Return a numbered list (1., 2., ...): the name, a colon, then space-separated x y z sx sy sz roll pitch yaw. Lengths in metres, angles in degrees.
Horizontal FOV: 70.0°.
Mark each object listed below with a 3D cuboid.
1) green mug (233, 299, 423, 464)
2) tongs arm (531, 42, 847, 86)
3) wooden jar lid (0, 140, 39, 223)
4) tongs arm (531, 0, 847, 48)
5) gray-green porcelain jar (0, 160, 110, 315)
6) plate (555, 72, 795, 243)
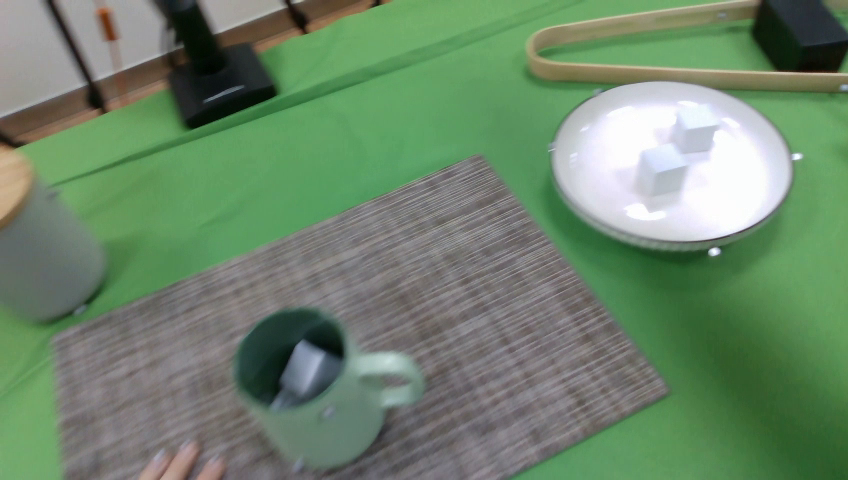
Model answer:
1. green mug: -0.063 0.101 0.435 0.125 0.106 0.091 -6 52 5
2. tongs arm: 0.306 -0.183 0.641 0.386 0.028 0.028 7 63 14
3. wooden jar lid: -0.371 -0.038 0.501 0.108 0.021 0.107 -3 56 5
4. tongs arm: 0.313 -0.248 0.682 0.384 0.027 0.050 -3 58 7
5. gray-green porcelain jar: -0.362 -0.001 0.550 0.106 0.128 0.105 -4 53 6
6. plate: 0.228 -0.077 0.569 0.207 0.039 0.205 -4 53 6
